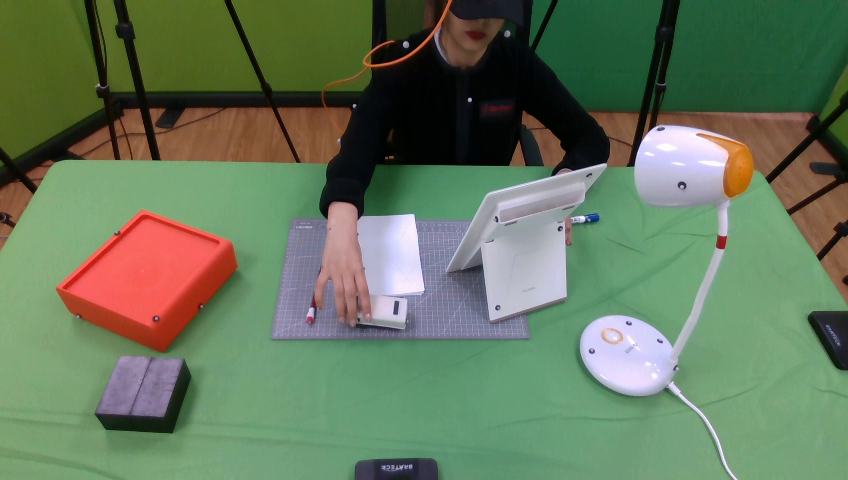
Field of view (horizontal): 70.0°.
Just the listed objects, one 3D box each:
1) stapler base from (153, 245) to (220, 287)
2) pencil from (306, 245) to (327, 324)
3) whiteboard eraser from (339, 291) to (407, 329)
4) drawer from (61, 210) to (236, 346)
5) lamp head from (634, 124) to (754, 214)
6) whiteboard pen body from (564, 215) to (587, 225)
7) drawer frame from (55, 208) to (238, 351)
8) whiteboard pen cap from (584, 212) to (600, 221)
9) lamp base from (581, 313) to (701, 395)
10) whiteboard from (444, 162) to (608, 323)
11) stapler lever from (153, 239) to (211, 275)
[{"bbox_3d":[-0.436,0.042,1.108,0.130,0.024,0.041,23,50,15],"label":"stapler base"},{"bbox_3d":[-0.196,0.076,1.116,0.012,0.012,0.193,4,44,0],"label":"pencil"},{"bbox_3d":[-0.087,0.123,1.051,0.113,0.042,0.055,7,43,-3],"label":"whiteboard eraser"},{"bbox_3d":[-0.474,0.061,1.063,0.194,0.073,0.211,19,49,13],"label":"drawer"},{"bbox_3d":[0.351,-0.089,0.776,0.112,0.113,0.122,-30,30,-28],"label":"lamp head"},{"bbox_3d":[0.292,-0.040,1.261,0.141,0.017,0.017,-7,47,-10],"label":"whiteboard pen body"},{"bbox_3d":[-0.474,0.062,1.059,0.201,0.083,0.213,18,48,12],"label":"drawer frame"},{"bbox_3d":[0.351,-0.049,1.271,0.033,0.018,0.018,-6,47,-11],"label":"whiteboard pen cap"},{"bbox_3d":[0.361,0.144,0.972,0.178,0.181,0.160,34,53,23],"label":"lamp base"},{"bbox_3d":[0.186,0.026,1.028,0.217,0.306,0.143,-14,68,-17],"label":"whiteboard"},{"bbox_3d":[-0.436,0.027,1.090,0.118,0.040,0.027,25,51,14],"label":"stapler lever"}]
